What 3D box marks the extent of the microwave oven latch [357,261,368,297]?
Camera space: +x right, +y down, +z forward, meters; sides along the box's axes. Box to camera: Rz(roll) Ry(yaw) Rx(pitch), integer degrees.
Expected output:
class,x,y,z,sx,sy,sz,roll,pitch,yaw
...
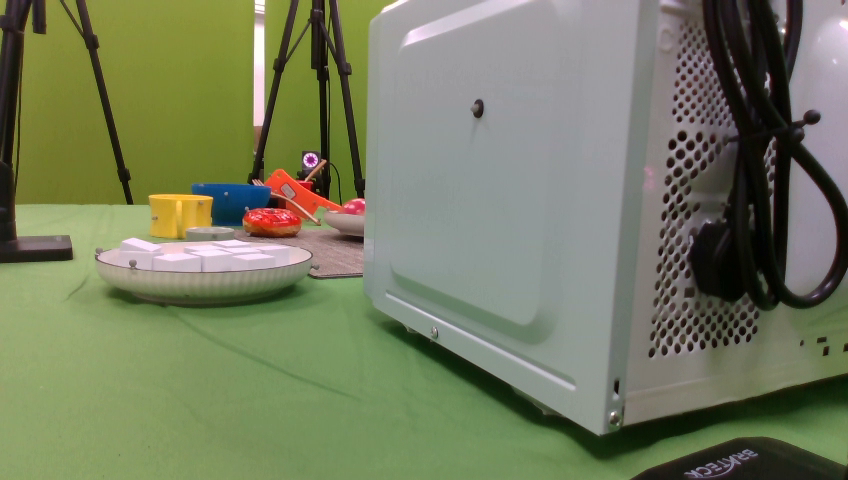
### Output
class,x,y,z,sx,sy,sz,roll,pitch,yaw
microwave oven latch,-0.019,0.033,0.530,0.079,0.029,0.030,-1,7,-26

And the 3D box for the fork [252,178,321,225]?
class,x,y,z,sx,sy,sz,roll,pitch,yaw
fork,-0.295,-0.084,1.292,0.206,0.018,0.028,29,10,25

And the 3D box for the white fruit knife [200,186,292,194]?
class,x,y,z,sx,sy,sz,roll,pitch,yaw
white fruit knife,-0.399,-0.111,1.368,0.208,0.016,0.027,-4,-19,-30

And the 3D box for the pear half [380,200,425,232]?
class,x,y,z,sx,sy,sz,roll,pitch,yaw
pear half,-0.029,-0.039,1.057,0.076,0.056,0.110,12,2,24

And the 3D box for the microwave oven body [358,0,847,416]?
class,x,y,z,sx,sy,sz,roll,pitch,yaw
microwave oven body,0.211,-0.047,0.474,0.444,0.260,0.324,-1,7,-28

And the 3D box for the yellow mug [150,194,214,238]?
class,x,y,z,sx,sy,sz,roll,pitch,yaw
yellow mug,-0.401,-0.040,1.003,0.100,0.064,0.130,-1,9,-20

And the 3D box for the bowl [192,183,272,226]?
class,x,y,z,sx,sy,sz,roll,pitch,yaw
bowl,-0.381,-0.071,1.202,0.151,0.077,0.151,3,7,0

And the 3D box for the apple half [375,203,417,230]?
class,x,y,z,sx,sy,sz,roll,pitch,yaw
apple half,-0.049,-0.049,1.112,0.081,0.033,0.081,14,25,-7

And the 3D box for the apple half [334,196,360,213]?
class,x,y,z,sx,sy,sz,roll,pitch,yaw
apple half,-0.113,-0.048,1.034,0.081,0.053,0.074,6,4,-21

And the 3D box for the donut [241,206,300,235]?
class,x,y,z,sx,sy,sz,roll,pitch,yaw
donut,-0.263,-0.032,1.039,0.099,0.048,0.099,4,9,0

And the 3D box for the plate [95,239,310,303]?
class,x,y,z,sx,sy,sz,roll,pitch,yaw
plate,-0.224,0.031,0.629,0.208,0.039,0.207,2,8,0

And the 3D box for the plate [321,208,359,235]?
class,x,y,z,sx,sy,sz,roll,pitch,yaw
plate,-0.078,-0.030,1.066,0.209,0.038,0.209,4,5,0

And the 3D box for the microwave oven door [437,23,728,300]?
class,x,y,z,sx,sy,sz,roll,pitch,yaw
microwave oven door,0.180,-0.072,0.621,0.358,0.243,0.039,-2,9,-29

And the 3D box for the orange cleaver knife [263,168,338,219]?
class,x,y,z,sx,sy,sz,roll,pitch,yaw
orange cleaver knife,-0.262,-0.088,1.353,0.211,0.077,0.012,28,13,-1

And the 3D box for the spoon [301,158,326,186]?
class,x,y,z,sx,sy,sz,roll,pitch,yaw
spoon,-0.320,-0.160,1.646,0.041,0.022,0.194,7,53,34

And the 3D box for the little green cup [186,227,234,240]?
class,x,y,z,sx,sy,sz,roll,pitch,yaw
little green cup,-0.285,0.005,0.805,0.061,0.038,0.061,2,8,0

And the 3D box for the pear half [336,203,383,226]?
class,x,y,z,sx,sy,sz,roll,pitch,yaw
pear half,-0.117,-0.050,1.111,0.088,0.031,0.070,8,26,-6
